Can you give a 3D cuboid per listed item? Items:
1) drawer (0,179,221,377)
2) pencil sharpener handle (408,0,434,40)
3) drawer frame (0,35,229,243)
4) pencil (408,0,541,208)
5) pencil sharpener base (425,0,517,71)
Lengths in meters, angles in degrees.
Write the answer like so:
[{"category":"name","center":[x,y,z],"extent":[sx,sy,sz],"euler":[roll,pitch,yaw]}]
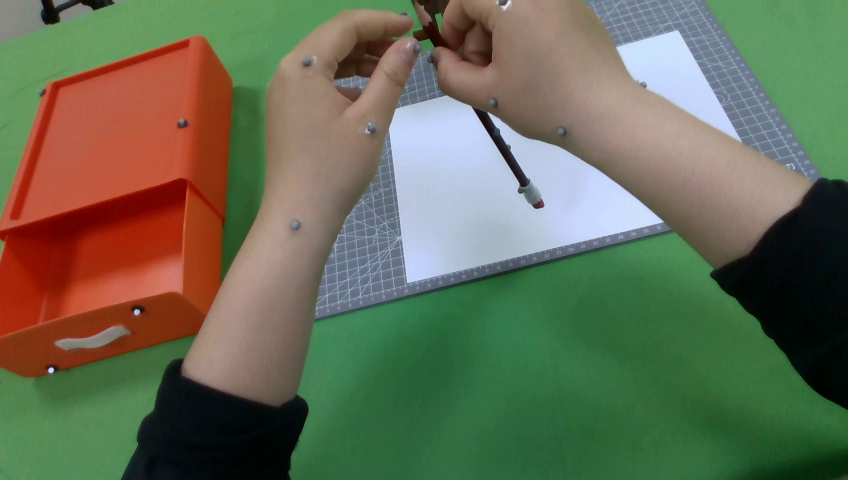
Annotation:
[{"category":"drawer","center":[-0.295,0.003,0.570],"extent":[0.194,0.074,0.209],"euler":[-16,54,7]},{"category":"pencil sharpener handle","center":[-0.008,-0.225,0.597],"extent":[0.030,0.068,0.035],"euler":[-13,61,9]},{"category":"drawer frame","center":[-0.314,-0.093,0.635],"extent":[0.201,0.083,0.211],"euler":[-16,54,7]},{"category":"pencil","center":[0.039,-0.081,0.401],"extent":[0.012,0.196,0.012],"euler":[-19,48,23]},{"category":"pencil sharpener base","center":[0.045,-0.229,0.598],"extent":[0.076,0.108,0.061],"euler":[-13,56,9]}]
